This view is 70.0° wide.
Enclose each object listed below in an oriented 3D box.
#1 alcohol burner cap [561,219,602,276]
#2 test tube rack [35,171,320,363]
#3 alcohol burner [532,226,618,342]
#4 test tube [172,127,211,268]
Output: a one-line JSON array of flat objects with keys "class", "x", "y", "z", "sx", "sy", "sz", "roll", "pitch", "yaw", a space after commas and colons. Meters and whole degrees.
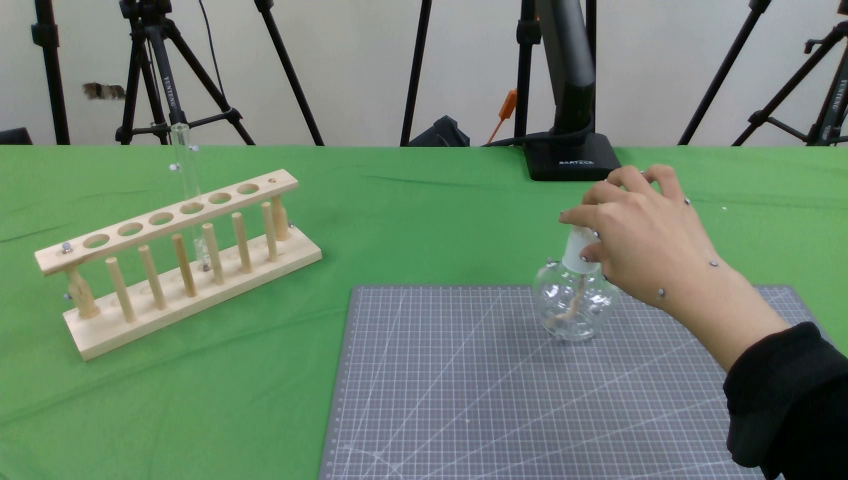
[{"class": "alcohol burner cap", "x": 0.138, "y": 0.004, "z": 0.523, "sx": 0.034, "sy": 0.048, "sz": 0.033, "roll": 2, "pitch": 35, "yaw": -1}, {"class": "test tube rack", "x": -0.228, "y": 0.018, "z": 0.598, "sx": 0.243, "sy": 0.086, "sz": 0.066, "roll": -25, "pitch": 42, "yaw": -30}, {"class": "alcohol burner", "x": 0.138, "y": 0.033, "z": 0.544, "sx": 0.078, "sy": 0.120, "sz": 0.077, "roll": 1, "pitch": 38, "yaw": 0}, {"class": "test tube", "x": -0.225, "y": -0.037, "z": 0.590, "sx": 0.017, "sy": 0.151, "sz": 0.017, "roll": 2, "pitch": 31, "yaw": -1}]
